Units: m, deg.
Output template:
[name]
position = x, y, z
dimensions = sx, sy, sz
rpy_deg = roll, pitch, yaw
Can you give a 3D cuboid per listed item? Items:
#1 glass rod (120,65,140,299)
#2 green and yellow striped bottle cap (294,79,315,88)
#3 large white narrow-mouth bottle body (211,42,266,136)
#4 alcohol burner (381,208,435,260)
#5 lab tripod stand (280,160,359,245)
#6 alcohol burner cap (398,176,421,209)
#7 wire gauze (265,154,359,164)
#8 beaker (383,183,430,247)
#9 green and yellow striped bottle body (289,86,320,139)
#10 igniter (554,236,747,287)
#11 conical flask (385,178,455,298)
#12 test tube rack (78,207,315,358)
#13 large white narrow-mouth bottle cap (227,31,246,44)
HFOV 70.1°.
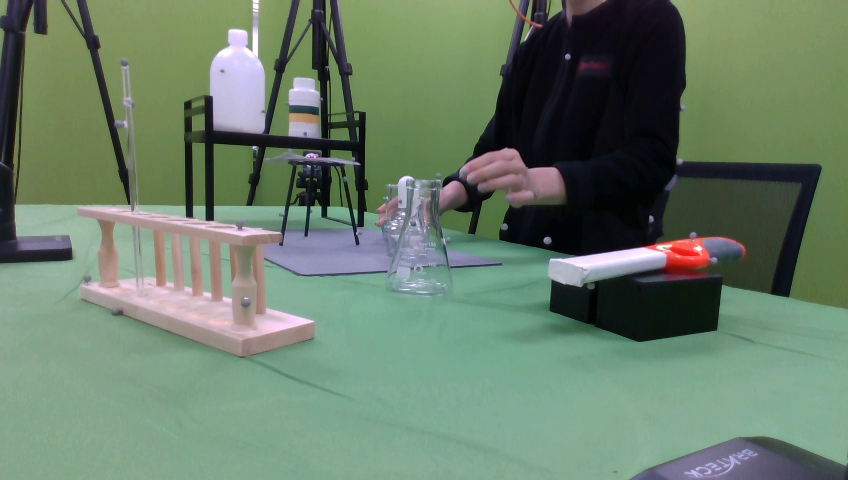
[glass rod]
position = -0.249, -0.047, 0.513
dimensions = 0.008, 0.199, 0.008
rpy_deg = -1, 4, 0
[green and yellow striped bottle cap]
position = -0.248, -0.323, 1.256
dimensions = 0.045, 0.020, 0.045
rpy_deg = 3, 9, 0
[large white narrow-mouth bottle body]
position = -0.361, -0.302, 1.176
dimensions = 0.102, 0.194, 0.102
rpy_deg = 1, 7, 0
[alcohol burner]
position = -0.023, -0.032, 0.871
dimensions = 0.078, 0.119, 0.078
rpy_deg = 0, 6, 0
[lab tripod stand]
position = -0.176, -0.062, 0.973
dimensions = 0.148, 0.131, 0.148
rpy_deg = 1, 7, 0
[alcohol burner cap]
position = -0.023, -0.068, 0.866
dimensions = 0.034, 0.048, 0.034
rpy_deg = -5, 8, 1
[wire gauze]
position = -0.181, -0.129, 0.969
dimensions = 0.126, 0.011, 0.121
rpy_deg = -1, 7, -27
[beaker]
position = -0.027, -0.041, 0.996
dimensions = 0.074, 0.100, 0.083
rpy_deg = -5, 11, -43
[green and yellow striped bottle body]
position = -0.250, -0.272, 1.261
dimensions = 0.063, 0.119, 0.063
rpy_deg = 3, 7, 0
[igniter]
position = 0.221, 0.017, 0.558
dimensions = 0.278, 0.025, 0.057
rpy_deg = -5, 15, -39
[conical flask]
position = -0.002, -0.004, 0.639
dimensions = 0.075, 0.122, 0.075
rpy_deg = 2, 7, 0
[test tube rack]
position = -0.196, 0.023, 0.499
dimensions = 0.241, 0.085, 0.067
rpy_deg = 8, 9, 37
[large white narrow-mouth bottle cap]
position = -0.361, -0.389, 1.165
dimensions = 0.038, 0.024, 0.037
rpy_deg = 1, 7, 0
